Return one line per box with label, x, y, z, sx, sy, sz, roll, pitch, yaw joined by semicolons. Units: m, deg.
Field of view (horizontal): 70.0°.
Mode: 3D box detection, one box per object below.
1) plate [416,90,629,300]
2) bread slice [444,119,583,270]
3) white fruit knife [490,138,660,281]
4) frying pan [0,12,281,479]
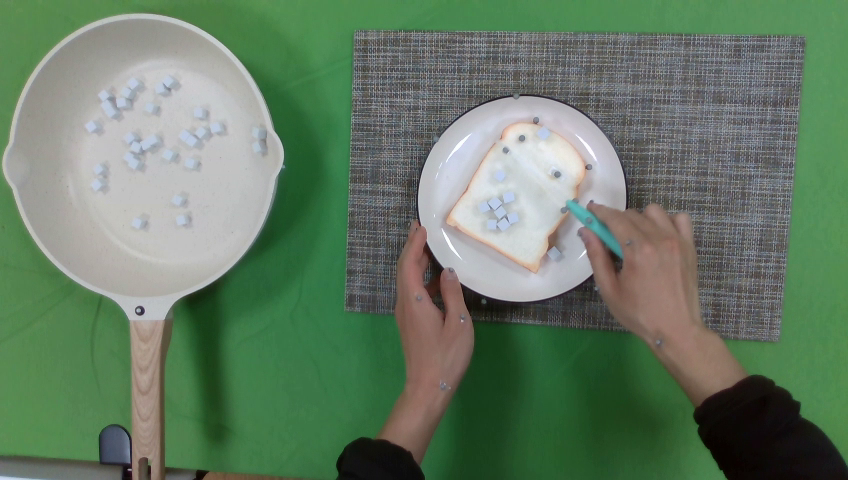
plate;0.097;-0.044;0.614;0.207;0.039;0.207;0;94;7
bread slice;0.095;-0.052;0.615;0.107;0.018;0.134;27;98;3
white fruit knife;0.139;-0.032;0.576;0.206;0.027;0.016;42;100;15
frying pan;-0.289;0.020;0.636;0.306;0.103;0.486;-1;85;8
